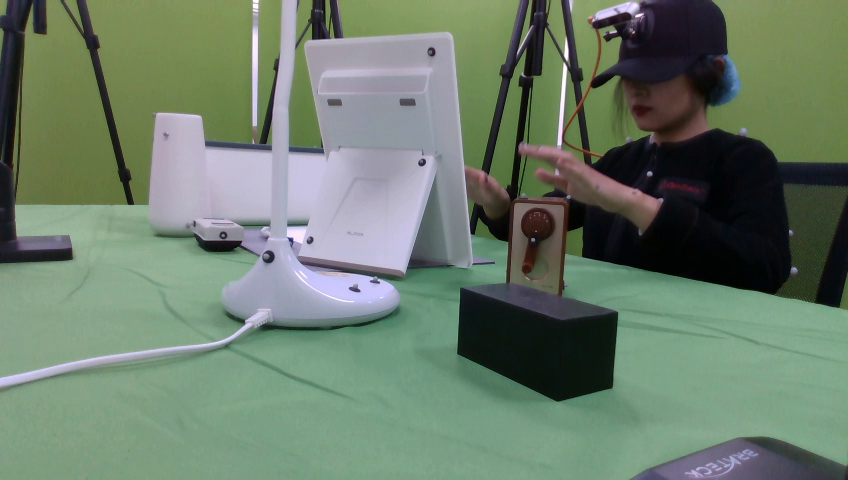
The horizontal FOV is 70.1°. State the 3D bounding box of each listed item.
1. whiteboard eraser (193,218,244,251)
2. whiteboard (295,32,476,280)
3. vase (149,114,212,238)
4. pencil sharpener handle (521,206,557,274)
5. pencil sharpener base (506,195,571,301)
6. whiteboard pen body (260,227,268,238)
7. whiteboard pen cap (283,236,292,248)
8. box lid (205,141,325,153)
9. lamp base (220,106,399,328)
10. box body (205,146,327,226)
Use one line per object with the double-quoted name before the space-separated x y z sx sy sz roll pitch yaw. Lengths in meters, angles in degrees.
"whiteboard eraser" -0.307 -0.010 0.900 0.056 0.042 0.112 -4 10 -28
"whiteboard" -0.076 -0.084 0.747 0.216 0.305 0.144 7 28 29
"vase" -0.405 -0.106 1.005 0.098 0.200 0.098 2 6 0
"pencil sharpener handle" 0.112 0.000 0.611 0.036 0.067 0.031 13 10 11
"pencil sharpener base" 0.126 0.007 0.662 0.061 0.107 0.077 4 8 13
"whiteboard pen body" -0.239 -0.005 0.964 0.017 0.017 0.140 -2 9 -28
"whiteboard pen cap" -0.211 0.003 0.913 0.018 0.018 0.033 -2 6 -28
"box lid" -0.357 -0.196 1.284 0.373 0.015 0.262 -2 9 -32
"lamp base" -0.102 -0.023 0.531 0.160 0.180 0.179 4 10 10
"box body" -0.363 -0.123 1.293 0.366 0.160 0.253 -2 9 -32
